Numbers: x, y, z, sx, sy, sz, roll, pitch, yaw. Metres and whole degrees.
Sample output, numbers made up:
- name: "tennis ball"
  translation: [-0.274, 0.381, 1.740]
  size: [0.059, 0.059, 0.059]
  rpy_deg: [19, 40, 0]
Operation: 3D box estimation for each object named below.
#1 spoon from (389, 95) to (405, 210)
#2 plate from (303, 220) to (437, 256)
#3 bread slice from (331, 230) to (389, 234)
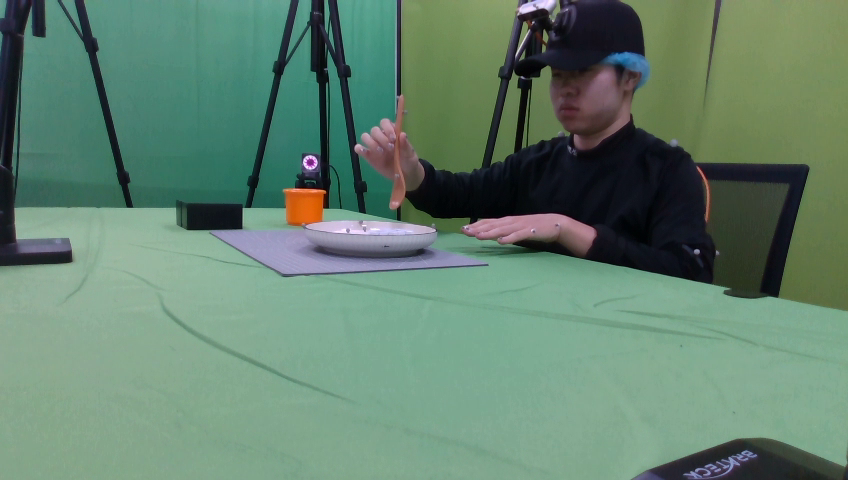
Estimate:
- name: "spoon"
  translation: [-0.044, -0.146, 1.007]
  size: [0.022, 0.193, 0.041]
  rpy_deg: [1, -1, -31]
- name: "plate"
  translation: [-0.084, -0.003, 0.951]
  size: [0.209, 0.038, 0.209]
  rpy_deg: [3, 7, 0]
- name: "bread slice"
  translation: [-0.088, 0.000, 0.947]
  size: [0.105, 0.019, 0.131]
  rpy_deg: [-4, 10, -45]
